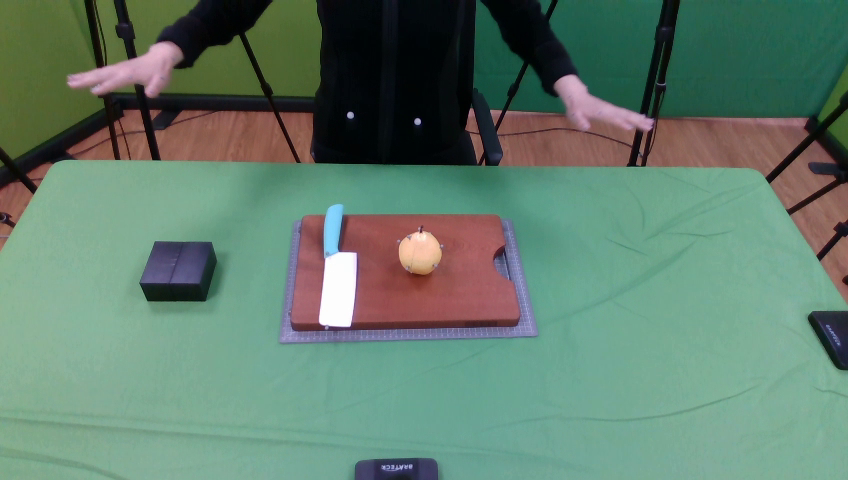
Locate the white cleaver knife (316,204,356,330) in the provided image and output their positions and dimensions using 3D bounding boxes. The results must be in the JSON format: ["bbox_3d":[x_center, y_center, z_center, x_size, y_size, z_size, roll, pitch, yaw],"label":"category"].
[{"bbox_3d":[-0.158,0.043,1.111,0.066,0.021,0.284,3,51,-9],"label":"white cleaver knife"}]

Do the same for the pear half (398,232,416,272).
[{"bbox_3d":[-0.031,0.017,1.092,0.031,0.088,0.070,1,51,-2],"label":"pear half"}]

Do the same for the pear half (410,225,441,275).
[{"bbox_3d":[0.004,0.013,1.085,0.056,0.110,0.076,1,51,-3],"label":"pear half"}]
